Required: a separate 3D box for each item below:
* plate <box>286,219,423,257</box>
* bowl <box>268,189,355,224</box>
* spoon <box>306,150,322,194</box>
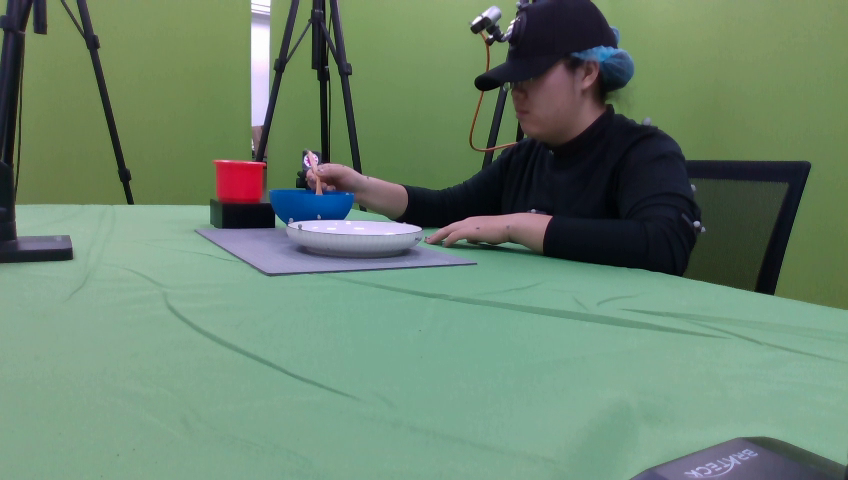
[{"bbox_3d":[-0.105,-0.004,0.922,0.208,0.039,0.207,3,8,0],"label":"plate"},{"bbox_3d":[-0.201,-0.048,1.078,0.151,0.077,0.151,3,8,0],"label":"bowl"},{"bbox_3d":[-0.199,-0.105,1.124,0.042,0.021,0.193,16,42,-35],"label":"spoon"}]
